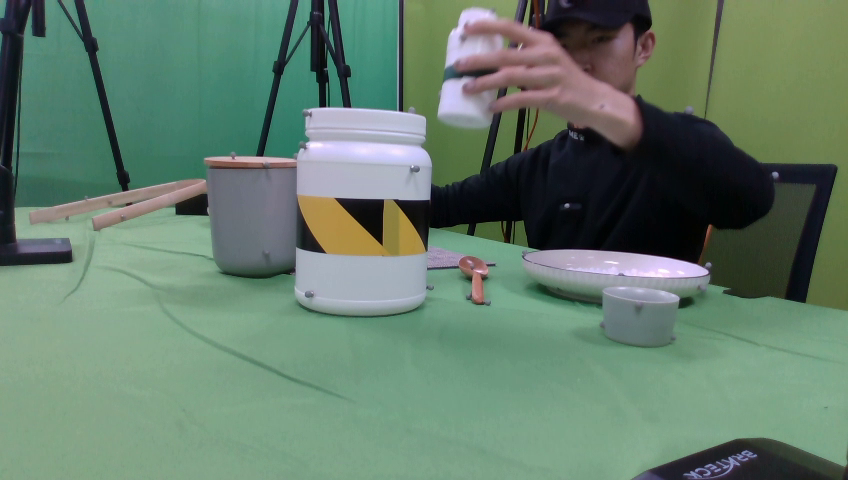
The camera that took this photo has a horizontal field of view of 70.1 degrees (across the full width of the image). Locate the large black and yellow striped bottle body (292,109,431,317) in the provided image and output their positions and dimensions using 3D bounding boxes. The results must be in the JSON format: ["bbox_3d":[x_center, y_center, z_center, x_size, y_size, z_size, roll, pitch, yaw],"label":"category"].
[{"bbox_3d":[-0.060,-0.028,0.585,0.131,0.184,0.130,3,7,0],"label":"large black and yellow striped bottle body"}]

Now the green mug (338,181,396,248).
[{"bbox_3d":[-0.097,-0.044,0.995,0.093,0.105,0.125,-1,8,-21],"label":"green mug"}]

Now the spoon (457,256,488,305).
[{"bbox_3d":[0.059,0.044,0.696,0.041,0.021,0.193,22,7,0],"label":"spoon"}]

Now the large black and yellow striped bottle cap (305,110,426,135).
[{"bbox_3d":[-0.055,-0.110,0.574,0.115,0.019,0.115,1,7,0],"label":"large black and yellow striped bottle cap"}]

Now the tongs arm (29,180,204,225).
[{"bbox_3d":[-0.609,-0.083,1.245,0.050,0.026,0.386,5,16,23],"label":"tongs arm"}]

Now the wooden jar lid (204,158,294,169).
[{"bbox_3d":[-0.202,-0.086,0.714,0.108,0.020,0.108,3,11,0],"label":"wooden jar lid"}]

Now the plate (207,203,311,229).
[{"bbox_3d":[-0.342,-0.050,1.259,0.208,0.039,0.207,3,7,0],"label":"plate"}]

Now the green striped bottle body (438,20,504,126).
[{"bbox_3d":[0.054,-0.192,0.673,0.063,0.119,0.063,7,-1,1],"label":"green striped bottle body"}]

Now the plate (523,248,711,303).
[{"bbox_3d":[0.219,0.041,0.706,0.209,0.038,0.209,2,7,0],"label":"plate"}]

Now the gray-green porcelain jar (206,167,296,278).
[{"bbox_3d":[-0.201,-0.024,0.724,0.106,0.126,0.106,-1,9,1],"label":"gray-green porcelain jar"}]

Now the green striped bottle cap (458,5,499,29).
[{"bbox_3d":[0.061,-0.243,0.673,0.044,0.020,0.044,9,-4,1],"label":"green striped bottle cap"}]

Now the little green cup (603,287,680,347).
[{"bbox_3d":[0.180,0.064,0.505,0.061,0.038,0.061,2,8,0],"label":"little green cup"}]

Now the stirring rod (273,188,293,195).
[{"bbox_3d":[-0.353,-0.122,1.519,0.006,0.014,0.176,2,7,2],"label":"stirring rod"}]

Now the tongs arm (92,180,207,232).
[{"bbox_3d":[-0.534,-0.075,1.222,0.028,0.028,0.388,-2,15,12],"label":"tongs arm"}]
